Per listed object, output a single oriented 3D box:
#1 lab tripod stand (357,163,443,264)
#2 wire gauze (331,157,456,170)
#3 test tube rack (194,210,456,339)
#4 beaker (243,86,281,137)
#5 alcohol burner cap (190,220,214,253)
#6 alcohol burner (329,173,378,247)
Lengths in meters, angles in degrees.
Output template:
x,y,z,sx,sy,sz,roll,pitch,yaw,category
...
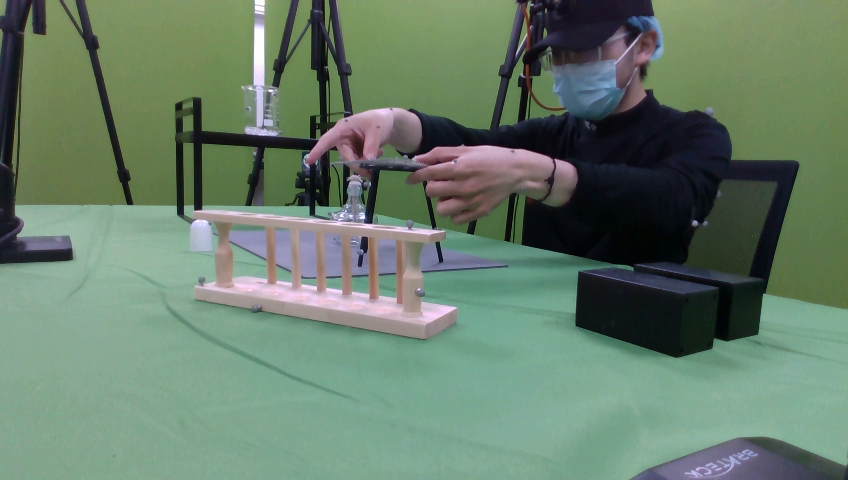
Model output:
x,y,z,sx,sy,sz,roll,pitch,yaw,category
-0.044,-0.038,0.830,0.148,0.131,0.148,4,6,0,lab tripod stand
-0.042,-0.104,0.819,0.126,0.011,0.121,-2,7,-44,wire gauze
-0.093,0.023,0.545,0.241,0.085,0.067,6,8,25,test tube rack
-0.338,-0.265,1.252,0.073,0.100,0.084,8,9,38,beaker
-0.321,-0.006,0.875,0.034,0.048,0.034,4,8,0,alcohol burner cap
-0.113,-0.049,0.972,0.078,0.119,0.078,1,9,0,alcohol burner
